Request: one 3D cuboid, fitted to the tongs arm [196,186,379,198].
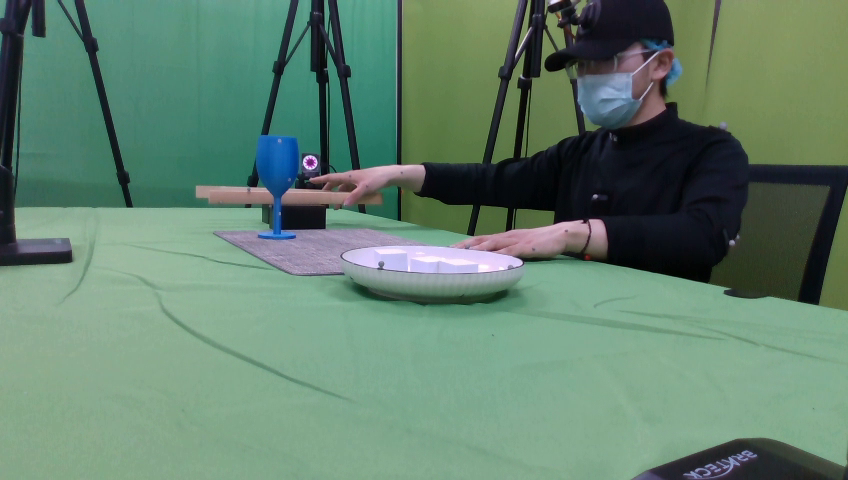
[{"bbox_3d":[-0.286,-0.099,1.311,0.389,0.028,0.028,0,3,-21],"label":"tongs arm"}]

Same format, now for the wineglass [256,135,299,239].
[{"bbox_3d":[-0.252,-0.091,1.035,0.074,0.172,0.073,2,7,0],"label":"wineglass"}]

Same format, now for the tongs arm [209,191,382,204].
[{"bbox_3d":[-0.248,-0.088,1.243,0.387,0.026,0.050,-2,7,-34],"label":"tongs arm"}]

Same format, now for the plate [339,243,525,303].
[{"bbox_3d":[0.008,0.035,0.682,0.209,0.038,0.209,3,7,0],"label":"plate"}]
